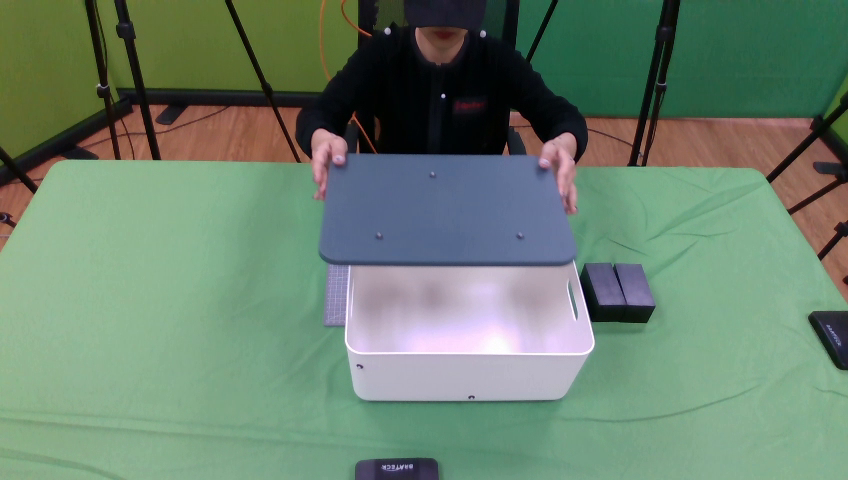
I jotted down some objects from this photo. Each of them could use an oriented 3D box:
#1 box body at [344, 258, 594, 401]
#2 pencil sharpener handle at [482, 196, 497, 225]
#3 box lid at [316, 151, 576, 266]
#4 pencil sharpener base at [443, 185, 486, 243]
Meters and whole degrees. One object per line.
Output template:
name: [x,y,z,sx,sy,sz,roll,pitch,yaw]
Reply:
box body: [0.060,0.120,0.988,0.364,0.161,0.252,0,47,-4]
pencil sharpener handle: [0.130,-0.056,1.182,0.031,0.068,0.036,1,45,-3]
box lid: [0.032,-0.055,0.924,0.372,0.015,0.261,0,43,-4]
pencil sharpener base: [0.078,-0.049,1.188,0.077,0.107,0.061,1,46,-3]
